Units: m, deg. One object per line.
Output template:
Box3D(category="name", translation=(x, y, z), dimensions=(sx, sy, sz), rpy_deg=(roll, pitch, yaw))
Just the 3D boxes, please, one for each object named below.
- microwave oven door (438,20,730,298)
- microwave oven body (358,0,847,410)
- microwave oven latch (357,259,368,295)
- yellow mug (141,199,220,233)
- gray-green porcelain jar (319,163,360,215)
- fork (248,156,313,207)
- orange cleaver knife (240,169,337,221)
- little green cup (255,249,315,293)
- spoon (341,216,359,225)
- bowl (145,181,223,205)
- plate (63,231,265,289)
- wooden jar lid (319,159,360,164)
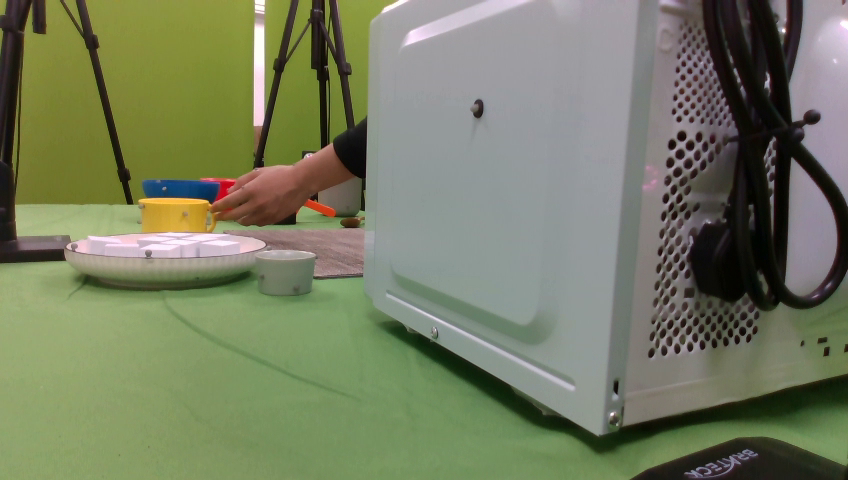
Box3D(category="microwave oven door", translation=(0.181, -0.076, 0.618), dimensions=(0.358, 0.243, 0.039), rpy_deg=(-2, 8, -28))
Box3D(category="microwave oven body", translation=(0.210, -0.051, 0.471), dimensions=(0.444, 0.260, 0.324), rpy_deg=(-1, 7, -28))
Box3D(category="microwave oven latch", translation=(-0.019, 0.031, 0.529), dimensions=(0.079, 0.029, 0.030), rpy_deg=(-1, 7, -26))
Box3D(category="yellow mug", translation=(-0.373, -0.030, 0.947), dimensions=(0.099, 0.064, 0.131), rpy_deg=(5, 7, 29))
Box3D(category="gray-green porcelain jar", translation=(-0.204, -0.126, 1.490), dimensions=(0.106, 0.126, 0.106), rpy_deg=(1, 7, 0))
Box3D(category="fork", translation=(-0.360, -0.147, 1.523), dimensions=(0.207, 0.019, 0.028), rpy_deg=(-43, 18, -6))
Box3D(category="orange cleaver knife", translation=(-0.287, -0.082, 1.298), dimensions=(0.212, 0.077, 0.012), rpy_deg=(25, -2, -31))
Box3D(category="little green cup", translation=(-0.144, 0.031, 0.627), dimensions=(0.061, 0.038, 0.061), rpy_deg=(2, 6, 0))
Box3D(category="spoon", translation=(-0.132, -0.048, 1.305), dimensions=(0.041, 0.021, 0.194), rpy_deg=(-11, 4, 14))
Box3D(category="bowl", translation=(-0.499, -0.081, 1.261), dimensions=(0.151, 0.077, 0.151), rpy_deg=(2, 7, 0))
Box3D(category="plate", translation=(-0.288, 0.021, 0.687), dimensions=(0.208, 0.039, 0.207), rpy_deg=(2, 8, 0))
Box3D(category="wooden jar lid", translation=(-0.203, -0.189, 1.482), dimensions=(0.108, 0.020, 0.108), rpy_deg=(2, 10, 0))
